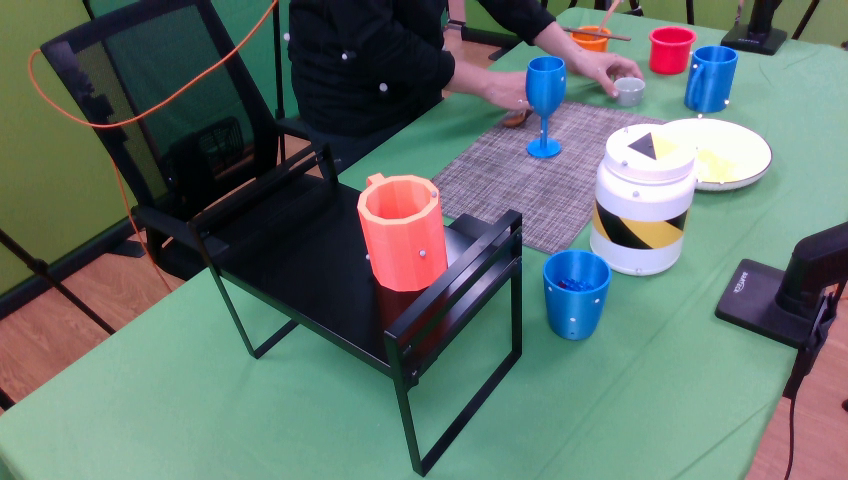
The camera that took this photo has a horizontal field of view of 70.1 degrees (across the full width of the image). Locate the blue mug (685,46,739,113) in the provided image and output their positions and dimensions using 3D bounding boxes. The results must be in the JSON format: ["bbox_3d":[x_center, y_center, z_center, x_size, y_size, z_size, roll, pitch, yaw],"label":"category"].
[{"bbox_3d":[0.556,-0.310,1.190,0.117,0.106,0.081,-32,46,-25],"label":"blue mug"}]

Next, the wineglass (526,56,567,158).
[{"bbox_3d":[0.222,-0.240,1.102,0.074,0.173,0.073,-5,41,5],"label":"wineglass"}]

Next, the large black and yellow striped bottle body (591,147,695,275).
[{"bbox_3d":[0.313,-0.056,0.870,0.131,0.185,0.130,-4,40,4],"label":"large black and yellow striped bottle body"}]

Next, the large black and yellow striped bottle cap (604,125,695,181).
[{"bbox_3d":[0.304,-0.120,0.817,0.115,0.019,0.114,-3,41,3],"label":"large black and yellow striped bottle cap"}]

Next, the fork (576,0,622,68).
[{"bbox_3d":[0.409,-0.484,1.381,0.028,0.019,0.207,37,101,46],"label":"fork"}]

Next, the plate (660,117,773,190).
[{"bbox_3d":[0.495,-0.148,1.063,0.209,0.038,0.208,-5,40,4],"label":"plate"}]

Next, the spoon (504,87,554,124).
[{"bbox_3d":[0.227,-0.285,1.269,0.041,0.022,0.194,1,35,45],"label":"spoon"}]

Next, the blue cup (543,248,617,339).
[{"bbox_3d":[0.199,0.076,0.797,0.092,0.100,0.092,-4,39,4],"label":"blue cup"}]

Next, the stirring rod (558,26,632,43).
[{"bbox_3d":[0.381,-0.462,1.356,0.175,0.006,0.014,23,48,29],"label":"stirring rod"}]

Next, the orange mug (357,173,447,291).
[{"bbox_3d":[-0.029,-0.018,0.669,0.084,0.101,0.125,-23,46,-16],"label":"orange mug"}]

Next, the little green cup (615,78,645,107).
[{"bbox_3d":[0.426,-0.306,1.257,0.061,0.039,0.061,-4,38,4],"label":"little green cup"}]
